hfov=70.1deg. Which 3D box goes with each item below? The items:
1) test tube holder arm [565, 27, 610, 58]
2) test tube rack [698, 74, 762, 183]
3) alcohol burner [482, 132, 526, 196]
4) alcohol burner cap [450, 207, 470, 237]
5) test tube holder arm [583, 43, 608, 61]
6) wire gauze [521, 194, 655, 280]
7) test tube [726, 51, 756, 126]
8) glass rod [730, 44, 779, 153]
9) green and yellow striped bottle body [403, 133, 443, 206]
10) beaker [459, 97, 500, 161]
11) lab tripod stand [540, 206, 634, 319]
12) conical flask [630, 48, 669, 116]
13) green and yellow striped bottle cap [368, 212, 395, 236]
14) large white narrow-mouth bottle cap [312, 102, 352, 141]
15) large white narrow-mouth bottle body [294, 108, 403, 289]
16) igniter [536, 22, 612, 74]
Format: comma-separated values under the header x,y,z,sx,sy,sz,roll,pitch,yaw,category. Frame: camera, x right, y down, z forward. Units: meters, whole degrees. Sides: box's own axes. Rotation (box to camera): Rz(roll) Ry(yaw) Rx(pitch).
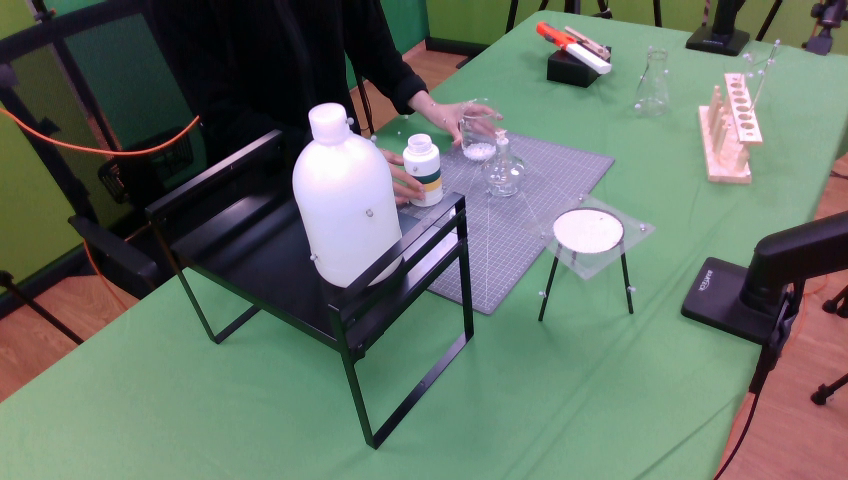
x,y,z,sx,sy,sz,roll,pitch,yaw,category
0.369,-0.450,1.373,0.013,0.015,0.177,-39,41,10,test tube holder arm
0.547,-0.208,1.095,0.066,0.085,0.242,5,42,15,test tube rack
0.137,-0.136,1.042,0.078,0.119,0.077,-4,43,4,alcohol burner
0.057,-0.032,0.987,0.034,0.048,0.033,-4,42,4,alcohol burner cap
0.379,-0.420,1.341,0.010,0.015,0.087,-39,41,10,test tube holder arm
0.207,-0.012,0.772,0.122,0.011,0.124,-28,44,-20,wire gauze
0.568,-0.268,1.086,0.017,0.151,0.017,-4,46,4,test tube
0.555,-0.233,1.020,0.008,0.200,0.008,2,39,-1,glass rod
-0.002,-0.123,1.041,0.063,0.120,0.063,-4,41,4,green and yellow striped bottle body
0.104,-0.208,1.142,0.074,0.101,0.083,-20,42,-15,beaker
0.218,0.034,0.821,0.148,0.132,0.147,-4,42,4,lab tripod stand
0.456,-0.317,1.205,0.075,0.122,0.075,-4,41,4,conical flask
-0.071,-0.028,1.021,0.045,0.020,0.045,-5,39,5,green and yellow striped bottle cap
-0.089,-0.114,0.579,0.038,0.024,0.037,-3,39,3,large white narrow-mouth bottle cap
-0.082,-0.047,0.634,0.102,0.195,0.101,-4,39,4,large white narrow-mouth bottle body
0.330,-0.439,1.366,0.057,0.025,0.274,-11,41,-20,igniter
